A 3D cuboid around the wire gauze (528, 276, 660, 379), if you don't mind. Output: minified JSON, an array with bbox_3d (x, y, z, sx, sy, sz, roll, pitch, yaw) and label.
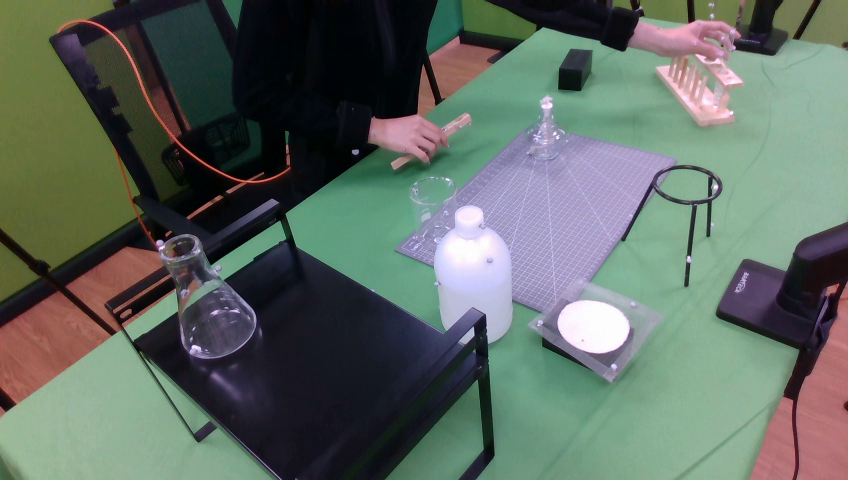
[{"bbox_3d":[0.214,0.103,0.763,0.124,0.011,0.122,30,53,35],"label":"wire gauze"}]

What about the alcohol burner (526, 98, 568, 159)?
[{"bbox_3d":[0.227,-0.210,1.118,0.078,0.119,0.077,-5,43,5],"label":"alcohol burner"}]

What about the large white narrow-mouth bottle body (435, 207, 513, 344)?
[{"bbox_3d":[0.065,0.041,0.791,0.102,0.195,0.101,-4,41,4],"label":"large white narrow-mouth bottle body"}]

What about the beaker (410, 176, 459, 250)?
[{"bbox_3d":[0.022,-0.041,0.963,0.073,0.101,0.084,28,51,35],"label":"beaker"}]

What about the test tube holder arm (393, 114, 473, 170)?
[{"bbox_3d":[0.017,-0.186,1.139,0.179,0.015,0.013,-35,37,-10],"label":"test tube holder arm"}]

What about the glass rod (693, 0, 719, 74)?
[{"bbox_3d":[0.561,-0.401,1.214,0.008,0.200,0.008,-1,48,2],"label":"glass rod"}]

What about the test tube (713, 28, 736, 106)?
[{"bbox_3d":[0.570,-0.325,1.149,0.017,0.151,0.017,-4,37,4],"label":"test tube"}]

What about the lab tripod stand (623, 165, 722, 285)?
[{"bbox_3d":[0.365,-0.030,0.875,0.148,0.132,0.147,-6,41,6],"label":"lab tripod stand"}]

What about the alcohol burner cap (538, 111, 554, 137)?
[{"bbox_3d":[0.242,-0.232,1.197,0.034,0.048,0.033,-2,40,2],"label":"alcohol burner cap"}]

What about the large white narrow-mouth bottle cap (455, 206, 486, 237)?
[{"bbox_3d":[0.057,-0.023,0.734,0.038,0.024,0.037,-4,40,4],"label":"large white narrow-mouth bottle cap"}]

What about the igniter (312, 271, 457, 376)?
[{"bbox_3d":[-0.068,0.111,0.859,0.274,0.025,0.057,27,61,34],"label":"igniter"}]

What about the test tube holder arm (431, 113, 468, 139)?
[{"bbox_3d":[0.051,-0.214,1.152,0.088,0.015,0.010,-35,37,-11],"label":"test tube holder arm"}]

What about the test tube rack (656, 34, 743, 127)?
[{"bbox_3d":[0.553,-0.330,1.233,0.067,0.085,0.241,-7,40,2],"label":"test tube rack"}]

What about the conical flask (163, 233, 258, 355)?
[{"bbox_3d":[-0.217,0.051,0.601,0.075,0.122,0.075,-4,40,4],"label":"conical flask"}]
